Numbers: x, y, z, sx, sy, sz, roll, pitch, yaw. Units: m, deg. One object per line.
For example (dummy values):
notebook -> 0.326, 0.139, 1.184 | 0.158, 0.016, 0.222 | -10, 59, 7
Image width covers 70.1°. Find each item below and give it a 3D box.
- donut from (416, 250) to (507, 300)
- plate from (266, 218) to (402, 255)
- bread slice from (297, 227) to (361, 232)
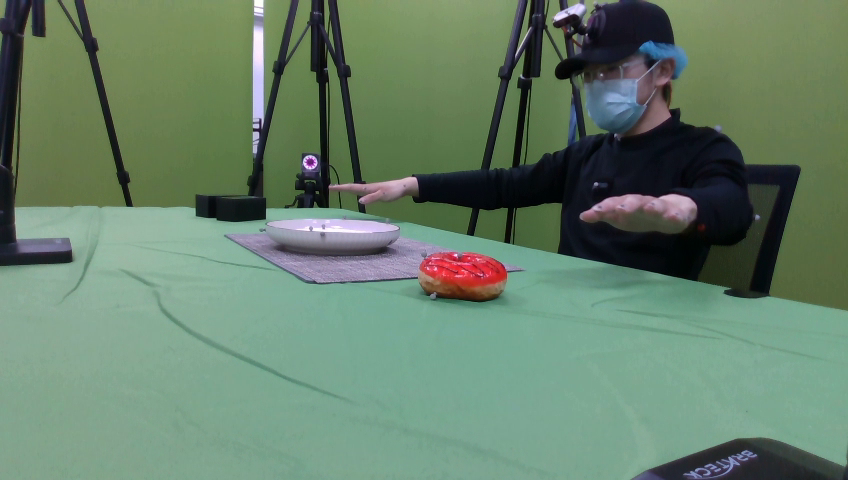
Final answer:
donut -> 0.041, 0.038, 0.650 | 0.099, 0.048, 0.099 | 4, 9, 0
plate -> -0.138, -0.006, 0.941 | 0.208, 0.039, 0.207 | 2, 7, 0
bread slice -> -0.142, -0.005, 0.939 | 0.131, 0.019, 0.105 | 8, 8, 33
